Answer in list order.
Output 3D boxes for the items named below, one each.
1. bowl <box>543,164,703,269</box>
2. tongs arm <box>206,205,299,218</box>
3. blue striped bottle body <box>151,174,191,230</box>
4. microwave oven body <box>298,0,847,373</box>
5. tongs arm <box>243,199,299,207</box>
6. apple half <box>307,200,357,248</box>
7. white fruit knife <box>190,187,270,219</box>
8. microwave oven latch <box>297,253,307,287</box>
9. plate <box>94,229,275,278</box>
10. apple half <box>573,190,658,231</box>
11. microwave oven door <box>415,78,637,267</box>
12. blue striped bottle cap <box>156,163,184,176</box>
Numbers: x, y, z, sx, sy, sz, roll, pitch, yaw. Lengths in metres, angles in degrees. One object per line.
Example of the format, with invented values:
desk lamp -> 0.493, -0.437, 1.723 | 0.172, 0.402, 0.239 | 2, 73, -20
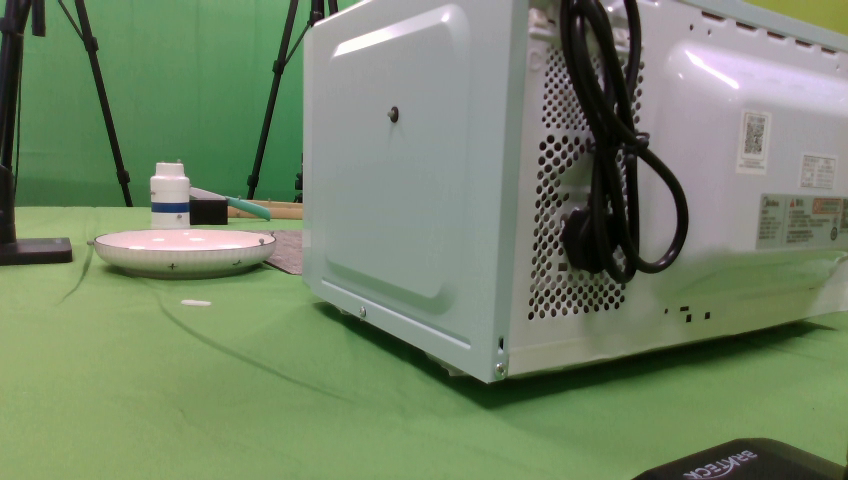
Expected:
bowl -> 0.182, -0.019, 0.589 | 0.151, 0.077, 0.151 | 13, 7, -1
tongs arm -> -0.302, -0.065, 1.407 | 0.389, 0.028, 0.028 | 1, 4, -15
blue striped bottle body -> -0.439, -0.071, 1.052 | 0.063, 0.120, 0.063 | 2, 7, 0
microwave oven body -> 0.151, -0.055, 0.543 | 0.444, 0.260, 0.324 | -1, 7, -33
tongs arm -> -0.309, -0.079, 1.487 | 0.385, 0.026, 0.050 | 3, 7, -2
apple half -> -0.136, -0.024, 0.942 | 0.053, 0.074, 0.081 | 15, 10, 38
white fruit knife -> -0.413, -0.081, 1.270 | 0.208, 0.027, 0.016 | 17, 13, -41
microwave oven latch -> -0.081, 0.027, 0.580 | 0.079, 0.029, 0.030 | -1, 7, -28
plate -> -0.291, 0.016, 0.749 | 0.208, 0.039, 0.207 | 2, 7, 0
apple half -> 0.183, -0.031, 0.582 | 0.081, 0.033, 0.081 | 13, -3, 1
microwave oven door -> 0.130, -0.104, 0.890 | 0.354, 0.243, 0.039 | 9, 10, 42
blue striped bottle cap -> -0.438, -0.122, 1.045 | 0.044, 0.020, 0.044 | 5, 6, 0
